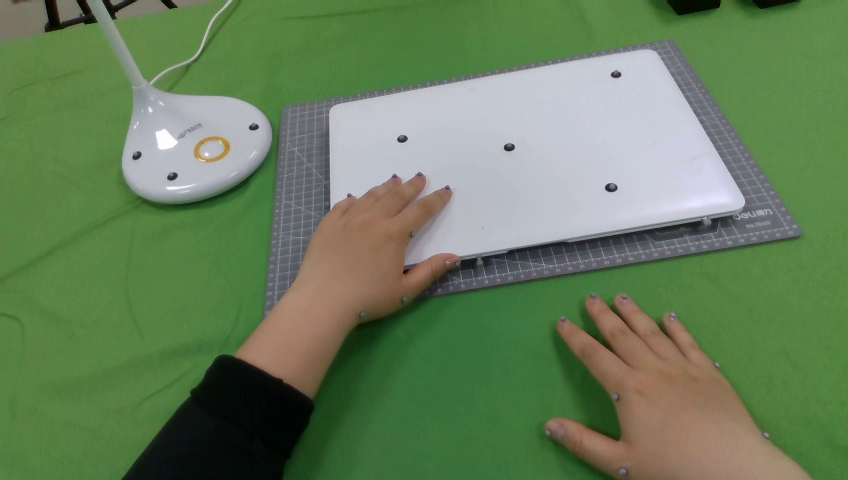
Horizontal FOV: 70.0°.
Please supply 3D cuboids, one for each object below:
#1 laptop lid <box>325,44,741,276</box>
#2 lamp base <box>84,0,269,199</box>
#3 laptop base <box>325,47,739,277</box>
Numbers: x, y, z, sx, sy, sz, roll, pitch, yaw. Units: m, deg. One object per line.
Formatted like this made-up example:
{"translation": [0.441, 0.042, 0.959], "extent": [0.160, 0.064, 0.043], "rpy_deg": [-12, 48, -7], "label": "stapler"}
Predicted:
{"translation": [0.080, -0.088, 0.574], "extent": [0.357, 0.013, 0.239], "rpy_deg": [-9, 52, 3], "label": "laptop lid"}
{"translation": [-0.267, -0.157, 0.599], "extent": [0.178, 0.182, 0.160], "rpy_deg": [22, 57, 28], "label": "lamp base"}
{"translation": [0.081, -0.083, 0.584], "extent": [0.354, 0.023, 0.233], "rpy_deg": [-10, 53, 1], "label": "laptop base"}
